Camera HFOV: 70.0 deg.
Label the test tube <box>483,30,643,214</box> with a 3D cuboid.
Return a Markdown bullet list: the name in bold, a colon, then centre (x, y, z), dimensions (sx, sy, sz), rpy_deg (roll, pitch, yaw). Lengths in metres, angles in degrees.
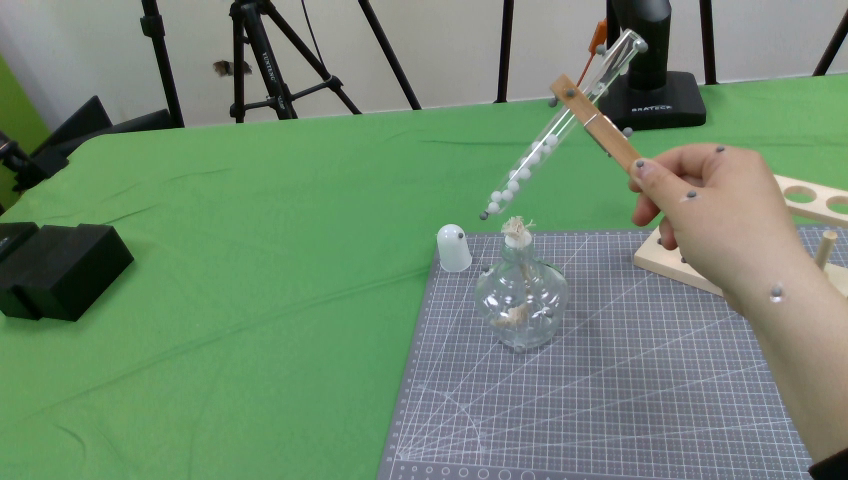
- **test tube**: centre (0.091, -0.076, 0.412), dimensions (0.150, 0.017, 0.017), rpy_deg (-51, 37, 17)

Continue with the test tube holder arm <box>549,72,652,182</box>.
- **test tube holder arm**: centre (0.115, -0.074, 0.397), dimensions (0.015, 0.010, 0.087), rpy_deg (-42, 82, 16)

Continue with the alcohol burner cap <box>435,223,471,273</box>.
- **alcohol burner cap**: centre (0.027, 0.005, 0.587), dimensions (0.034, 0.048, 0.033), rpy_deg (-7, 41, 6)

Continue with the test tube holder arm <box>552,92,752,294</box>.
- **test tube holder arm**: centre (0.144, -0.039, 0.392), dimensions (0.015, 0.013, 0.177), rpy_deg (-42, 73, 16)

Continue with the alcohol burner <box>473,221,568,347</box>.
- **alcohol burner**: centre (0.076, 0.031, 0.486), dimensions (0.078, 0.120, 0.077), rpy_deg (-7, 41, 6)

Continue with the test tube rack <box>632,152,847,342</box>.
- **test tube rack**: centre (0.292, 0.010, 0.472), dimensions (0.240, 0.086, 0.066), rpy_deg (23, 52, 36)
